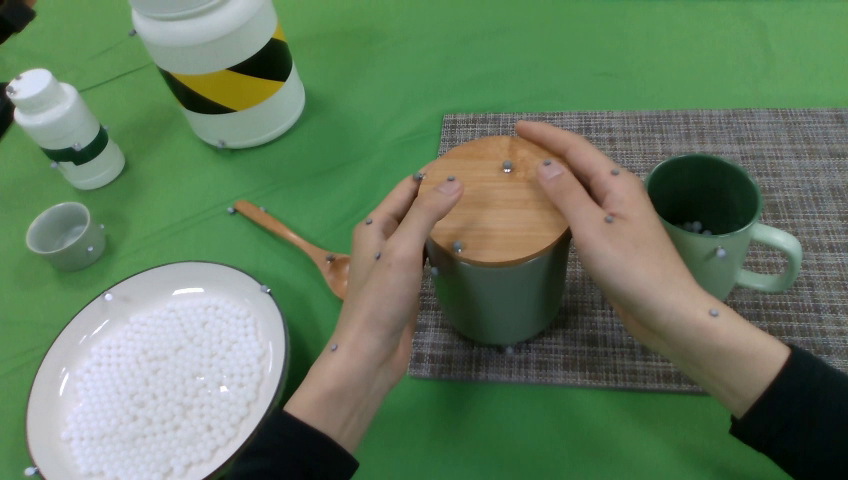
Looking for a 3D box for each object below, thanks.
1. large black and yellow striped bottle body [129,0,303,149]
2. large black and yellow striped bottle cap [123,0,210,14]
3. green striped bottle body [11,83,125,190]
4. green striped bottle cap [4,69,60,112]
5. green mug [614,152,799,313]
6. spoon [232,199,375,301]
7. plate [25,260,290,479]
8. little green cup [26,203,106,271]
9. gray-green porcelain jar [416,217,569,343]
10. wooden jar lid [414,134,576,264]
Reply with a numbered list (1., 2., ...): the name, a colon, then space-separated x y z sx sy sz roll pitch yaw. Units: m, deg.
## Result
1. large black and yellow striped bottle body: -0.211 -0.199 0.619 0.130 0.186 0.129 -4 55 6
2. large black and yellow striped bottle cap: -0.223 -0.246 0.550 0.115 0.019 0.114 -4 53 5
3. green striped bottle body: -0.366 -0.111 0.618 0.063 0.120 0.062 -4 54 6
4. green striped bottle cap: -0.373 -0.142 0.577 0.044 0.020 0.044 -2 56 3
5. green mug: 0.213 0.002 0.460 0.124 0.106 0.092 21 60 21
6. spoon: -0.118 0.001 0.564 0.192 0.022 0.041 31 82 26
7. plate: -0.207 0.111 0.489 0.209 0.038 0.207 -4 54 5
8. little green cup: -0.344 -0.001 0.588 0.061 0.039 0.061 -4 53 6
9. gray-green porcelain jar: 0.055 0.011 0.462 0.106 0.128 0.105 -5 54 7
10. wooden jar lid: 0.048 -0.027 0.411 0.108 0.021 0.107 -5 56 7
